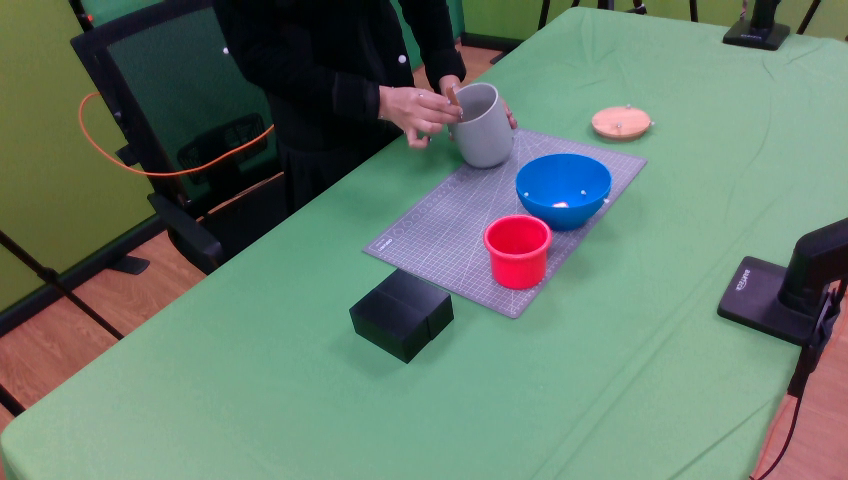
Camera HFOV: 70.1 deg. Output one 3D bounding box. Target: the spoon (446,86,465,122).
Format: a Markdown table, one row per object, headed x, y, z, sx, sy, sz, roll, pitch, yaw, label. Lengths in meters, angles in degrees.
| x | y | z | sx | sy | sz | roll | pitch | yaw | label |
| --- | --- | --- | --- | --- | --- | --- | --- | --- | --- |
| 0.065 | -0.209 | 1.054 | 0.041 | 0.195 | 0.021 | -21 | 60 | 9 | spoon |

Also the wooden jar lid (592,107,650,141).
| x | y | z | sx | sy | sz | roll | pitch | yaw | label |
| --- | --- | --- | --- | --- | --- | --- | --- | --- | --- |
| 0.382 | -0.225 | 1.178 | 0.108 | 0.021 | 0.108 | -5 | 40 | 4 | wooden jar lid |

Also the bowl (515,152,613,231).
| x | y | z | sx | sy | sz | roll | pitch | yaw | label |
| --- | --- | --- | --- | --- | --- | --- | --- | --- | --- |
| 0.224 | -0.068 | 0.972 | 0.151 | 0.077 | 0.150 | -5 | 40 | 5 | bowl |

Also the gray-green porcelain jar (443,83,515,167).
| x | y | z | sx | sy | sz | roll | pitch | yaw | label |
| --- | --- | --- | --- | --- | --- | --- | --- | --- | --- |
| 0.105 | -0.205 | 1.108 | 0.105 | 0.127 | 0.105 | -15 | 48 | 17 | gray-green porcelain jar |
